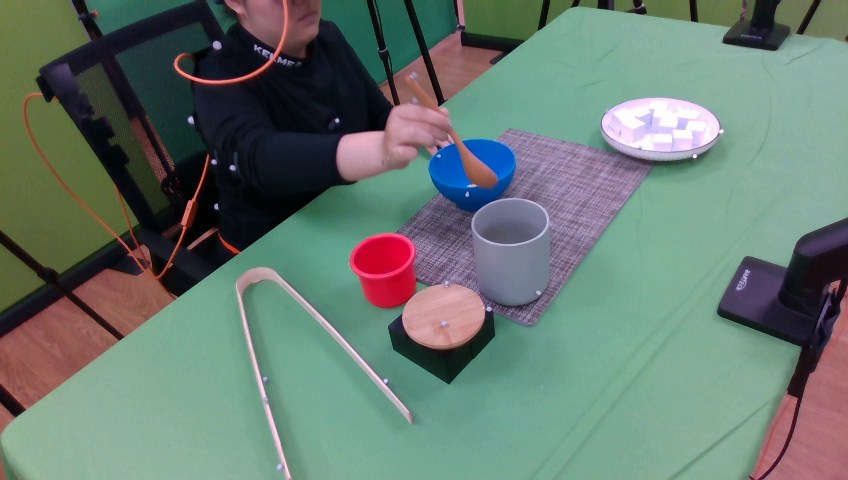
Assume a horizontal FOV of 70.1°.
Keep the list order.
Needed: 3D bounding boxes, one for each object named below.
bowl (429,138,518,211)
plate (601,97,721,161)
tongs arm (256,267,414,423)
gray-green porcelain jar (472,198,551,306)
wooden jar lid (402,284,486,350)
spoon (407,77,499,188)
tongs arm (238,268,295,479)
[{"bbox_3d":[0.087,-0.104,1.043,0.151,0.077,0.150,-5,40,5],"label":"bowl"},{"bbox_3d":[0.437,-0.203,1.126,0.209,0.038,0.208,-5,39,5],"label":"plate"},{"bbox_3d":[-0.137,0.132,0.853,0.028,0.028,0.384,-34,46,-23],"label":"tongs arm"},{"bbox_3d":[0.125,0.021,0.850,0.106,0.127,0.105,-6,40,5],"label":"gray-green porcelain jar"},{"bbox_3d":[0.027,0.101,0.786,0.108,0.021,0.108,-5,39,4],"label":"wooden jar lid"},{"bbox_3d":[0.037,-0.136,0.792,0.041,0.195,0.021,-15,35,42],"label":"spoon"},{"bbox_3d":[-0.208,0.163,0.824,0.051,0.026,0.381,-22,40,-16],"label":"tongs arm"}]
